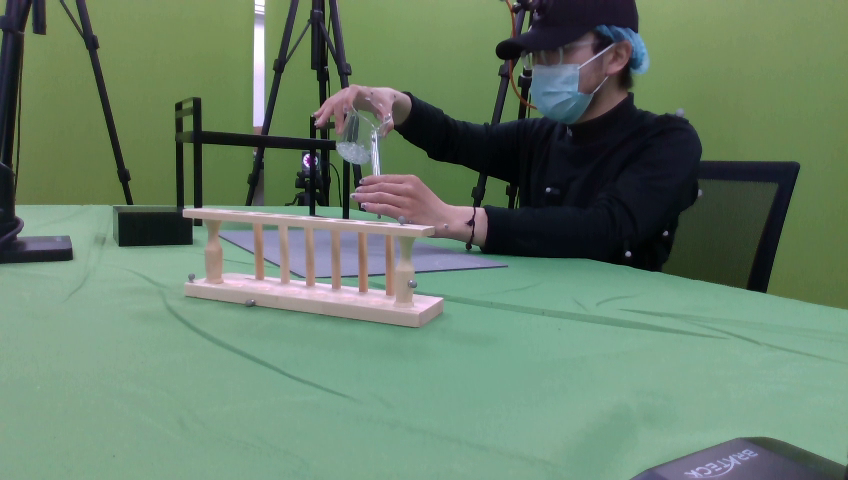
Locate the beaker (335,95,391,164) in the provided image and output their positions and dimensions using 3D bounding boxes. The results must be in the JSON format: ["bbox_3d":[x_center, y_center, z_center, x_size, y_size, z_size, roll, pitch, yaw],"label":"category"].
[{"bbox_3d":[-0.110,-0.189,1.066,0.074,0.100,0.083,4,46,-31],"label":"beaker"}]

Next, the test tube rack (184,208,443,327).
[{"bbox_3d":[-0.106,0.019,0.570,0.241,0.085,0.067,5,8,20],"label":"test tube rack"}]

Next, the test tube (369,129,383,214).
[{"bbox_3d":[-0.079,-0.113,0.990,0.017,0.150,0.017,-4,-18,-1],"label":"test tube"}]
